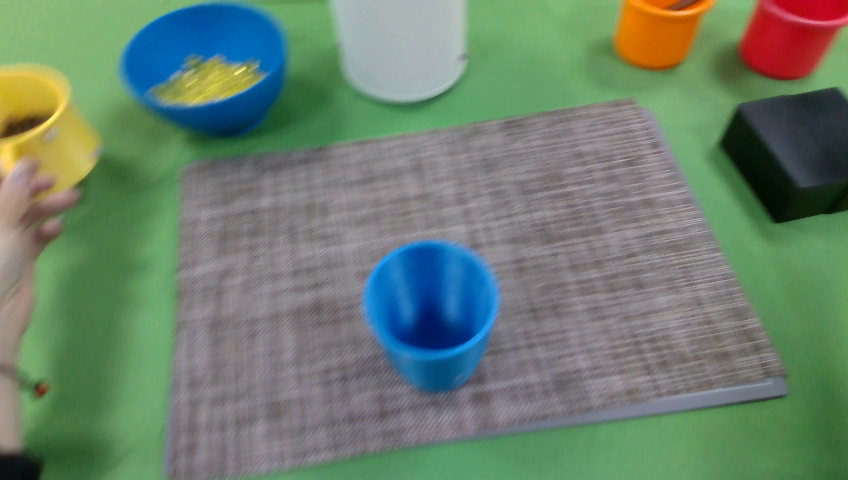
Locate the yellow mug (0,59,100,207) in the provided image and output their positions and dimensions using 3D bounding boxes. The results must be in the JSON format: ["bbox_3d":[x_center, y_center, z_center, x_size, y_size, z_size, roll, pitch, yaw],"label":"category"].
[{"bbox_3d":[-0.331,-0.083,0.502,0.100,0.064,0.129,-17,58,-14],"label":"yellow mug"}]

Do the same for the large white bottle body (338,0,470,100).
[{"bbox_3d":[-0.020,-0.243,0.574,0.130,0.186,0.129,0,56,1],"label":"large white bottle body"}]

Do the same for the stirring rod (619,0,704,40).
[{"bbox_3d":[0.273,-0.239,0.594,0.175,0.006,0.014,-18,43,43],"label":"stirring rod"}]

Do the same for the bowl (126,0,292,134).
[{"bbox_3d":[-0.196,-0.156,0.586,0.151,0.077,0.150,0,56,1],"label":"bowl"}]

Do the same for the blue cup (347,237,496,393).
[{"bbox_3d":[0.005,0.061,0.417,0.092,0.101,0.092,-2,57,3],"label":"blue cup"}]
